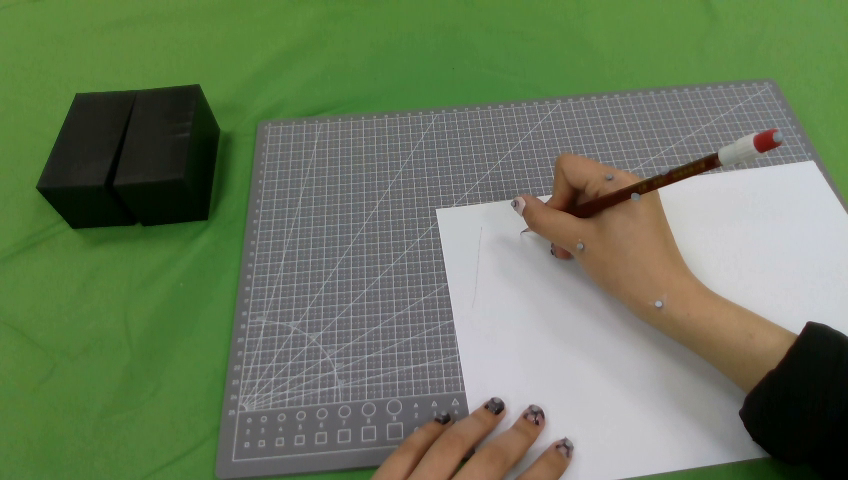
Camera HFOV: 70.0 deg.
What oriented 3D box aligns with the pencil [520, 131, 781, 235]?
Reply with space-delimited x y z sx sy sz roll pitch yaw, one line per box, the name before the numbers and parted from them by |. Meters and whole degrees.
pencil | 0.118 -0.026 0.365 0.012 0.193 0.012 8 73 -28
